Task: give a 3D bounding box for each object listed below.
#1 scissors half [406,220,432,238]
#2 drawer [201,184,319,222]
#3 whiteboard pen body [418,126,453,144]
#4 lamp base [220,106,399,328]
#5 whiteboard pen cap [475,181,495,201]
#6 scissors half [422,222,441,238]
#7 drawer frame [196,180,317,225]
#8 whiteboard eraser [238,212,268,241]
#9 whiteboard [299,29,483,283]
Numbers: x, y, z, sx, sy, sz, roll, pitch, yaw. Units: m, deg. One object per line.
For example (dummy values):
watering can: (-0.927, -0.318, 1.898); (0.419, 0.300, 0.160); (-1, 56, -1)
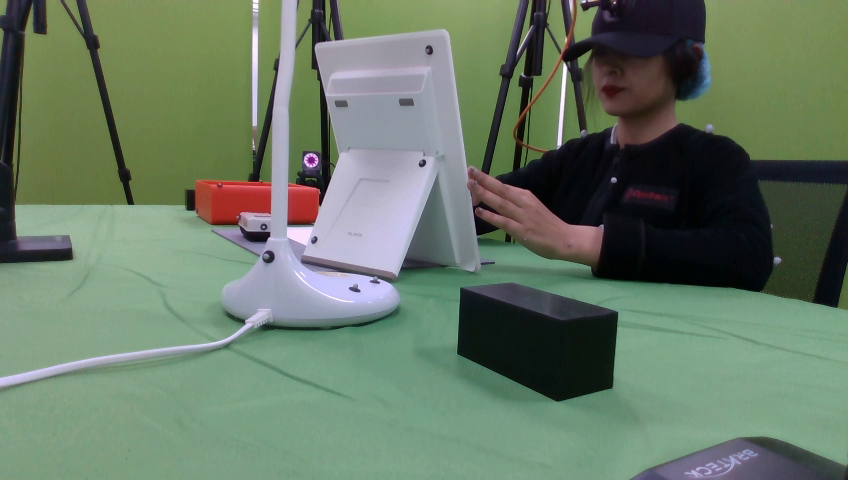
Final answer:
scissors half: (-0.006, -0.021, 1.214); (0.040, 0.013, 0.174); (6, 10, -15)
drawer: (-0.353, -0.082, 1.295); (0.213, 0.073, 0.193); (-2, 10, -28)
whiteboard pen body: (0.015, -0.142, 0.819); (0.017, 0.017, 0.141); (5, 6, 17)
lamp base: (-0.101, -0.023, 0.531); (0.160, 0.180, 0.179); (4, 10, 10)
whiteboard pen cap: (0.080, -0.066, 0.807); (0.018, 0.018, 0.033); (-1, 29, -26)
scissors half: (0.013, -0.018, 1.217); (0.040, 0.013, 0.175); (14, 9, 1)
drawer frame: (-0.359, -0.083, 1.292); (0.215, 0.082, 0.200); (-2, 10, -30)
whiteboard eraser: (-0.272, -0.023, 0.998); (0.056, 0.042, 0.112); (-2, 9, -24)
whiteboard: (-0.074, -0.082, 0.742); (0.216, 0.305, 0.144); (9, 29, 38)
